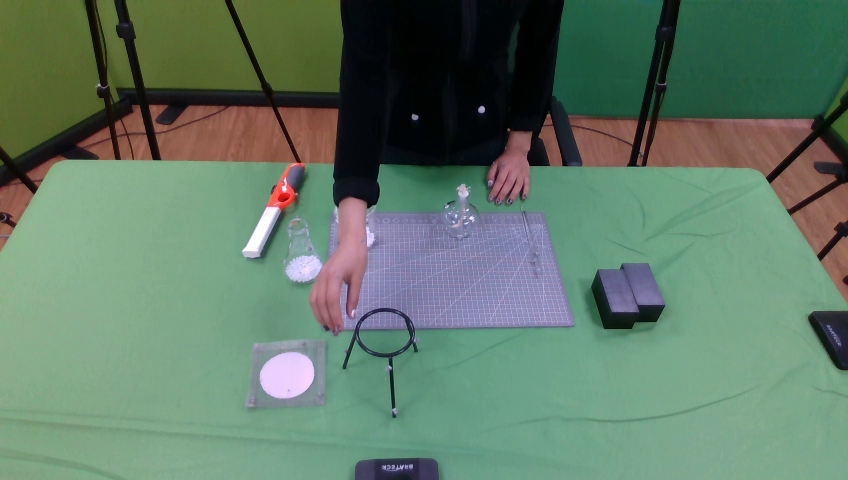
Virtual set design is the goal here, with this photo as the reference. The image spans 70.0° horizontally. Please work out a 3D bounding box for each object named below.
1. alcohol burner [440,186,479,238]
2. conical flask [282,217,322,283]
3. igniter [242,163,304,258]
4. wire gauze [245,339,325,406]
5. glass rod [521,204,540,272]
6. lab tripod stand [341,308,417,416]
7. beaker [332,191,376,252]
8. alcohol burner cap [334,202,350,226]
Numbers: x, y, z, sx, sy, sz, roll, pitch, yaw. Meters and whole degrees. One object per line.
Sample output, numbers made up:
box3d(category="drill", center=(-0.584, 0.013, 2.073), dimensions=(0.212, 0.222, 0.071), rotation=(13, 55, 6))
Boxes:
box3d(category="alcohol burner", center=(0.072, -0.061, 1.198), dimensions=(0.078, 0.119, 0.077), rotation=(4, 47, -4))
box3d(category="conical flask", center=(-0.225, 0.016, 1.097), dimensions=(0.075, 0.122, 0.075), rotation=(3, 46, -2))
box3d(category="igniter", center=(-0.305, -0.069, 1.239), dimensions=(0.057, 0.025, 0.275), rotation=(2, 45, 12))
box3d(category="wire gauze", center=(-0.224, 0.215, 0.984), dimensions=(0.125, 0.011, 0.120), rotation=(-2, 46, -5))
box3d(category="glass rod", center=(0.215, -0.008, 1.230), dimensions=(0.008, 0.008, 0.198), rotation=(0, 43, -3))
box3d(category="lab tripod stand", center=(-0.061, 0.177, 0.946), dimensions=(0.148, 0.132, 0.147), rotation=(2, 44, -2))
box3d(category="beaker", center=(-0.133, -0.032, 1.163), dimensions=(0.084, 0.101, 0.073), rotation=(-18, 50, -20))
box3d(category="alcohol burner cap", center=(-0.166, -0.055, 1.222), dimensions=(0.034, 0.048, 0.033), rotation=(2, 46, -2))
